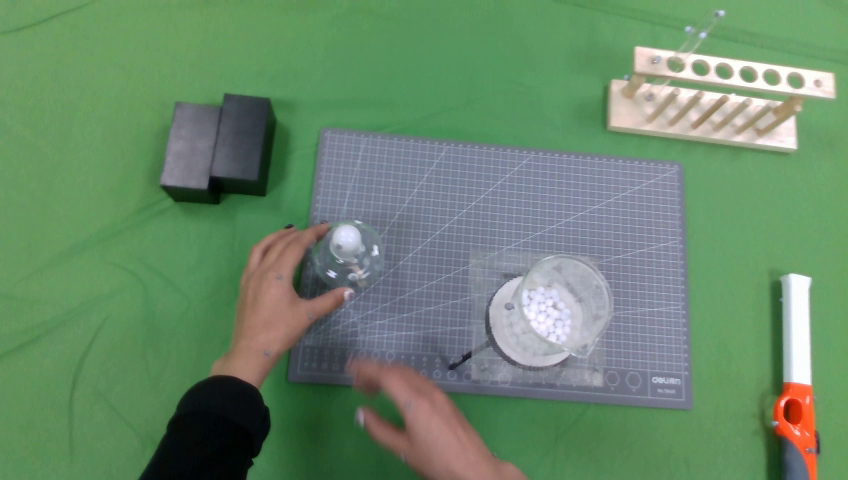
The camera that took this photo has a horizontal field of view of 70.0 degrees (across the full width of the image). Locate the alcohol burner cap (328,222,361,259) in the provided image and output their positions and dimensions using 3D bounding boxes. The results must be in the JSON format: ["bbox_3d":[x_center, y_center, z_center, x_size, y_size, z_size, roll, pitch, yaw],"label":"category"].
[{"bbox_3d":[-0.078,-0.001,0.603,0.034,0.048,0.033,2,78,-8],"label":"alcohol burner cap"}]

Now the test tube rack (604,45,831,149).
[{"bbox_3d":[0.353,-0.173,0.742,0.242,0.085,0.066,6,74,-3],"label":"test tube rack"}]

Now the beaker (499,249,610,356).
[{"bbox_3d":[0.106,0.060,0.511,0.074,0.100,0.083,-18,76,-8],"label":"beaker"}]

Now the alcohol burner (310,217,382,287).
[{"bbox_3d":[-0.082,0.008,0.637,0.078,0.119,0.077,1,72,-4],"label":"alcohol burner"}]

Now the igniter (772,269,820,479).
[{"bbox_3d":[0.420,0.169,0.686,0.057,0.025,0.275,12,74,-12],"label":"igniter"}]

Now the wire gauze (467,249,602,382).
[{"bbox_3d":[0.102,0.067,0.559,0.125,0.011,0.120,3,72,-1],"label":"wire gauze"}]

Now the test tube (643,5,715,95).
[{"bbox_3d":[0.288,-0.213,0.695,0.017,0.151,0.017,2,70,-5],"label":"test tube"}]

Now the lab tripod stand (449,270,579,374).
[{"bbox_3d":[0.094,0.087,0.621,0.148,0.132,0.147,1,74,-3],"label":"lab tripod stand"}]
